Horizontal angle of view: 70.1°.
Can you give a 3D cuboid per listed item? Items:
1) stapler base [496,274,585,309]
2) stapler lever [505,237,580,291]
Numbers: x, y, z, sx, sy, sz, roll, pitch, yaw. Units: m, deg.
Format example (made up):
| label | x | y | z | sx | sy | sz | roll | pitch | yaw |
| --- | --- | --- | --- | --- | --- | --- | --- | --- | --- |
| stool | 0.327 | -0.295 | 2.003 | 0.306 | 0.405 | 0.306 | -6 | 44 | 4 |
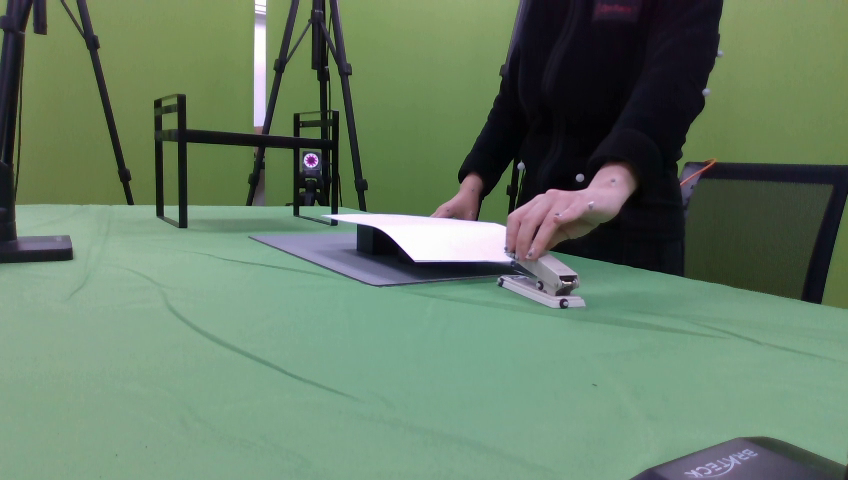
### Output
| label | x | y | z | sx | sy | sz | roll | pitch | yaw |
| --- | --- | --- | --- | --- | --- | --- | --- | --- | --- |
| stapler base | 0.124 | 0.049 | 0.665 | 0.041 | 0.024 | 0.130 | -3 | 11 | -21 |
| stapler lever | 0.126 | 0.024 | 0.660 | 0.027 | 0.040 | 0.117 | -3 | 11 | -21 |
